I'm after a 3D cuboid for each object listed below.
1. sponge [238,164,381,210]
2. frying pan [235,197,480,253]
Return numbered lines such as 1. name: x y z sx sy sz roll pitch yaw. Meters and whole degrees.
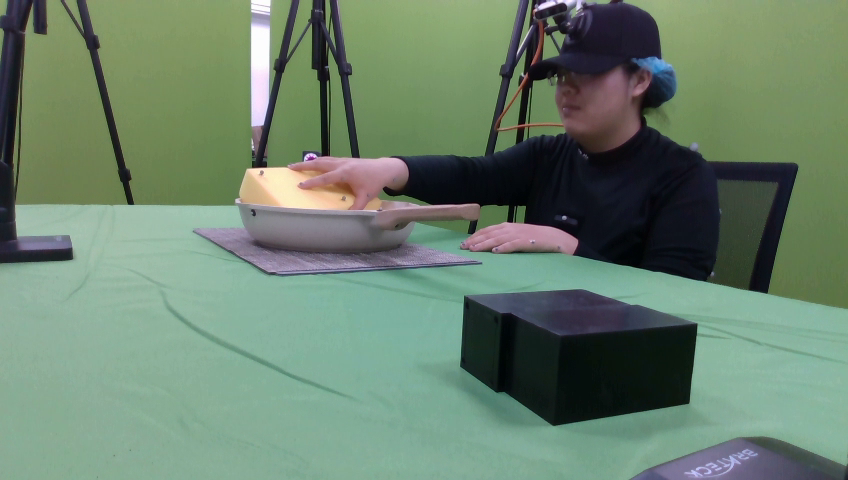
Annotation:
1. sponge: -0.187 -0.066 1.009 0.118 0.061 0.208 42 31 25
2. frying pan: -0.090 -0.034 0.891 0.308 0.102 0.485 -4 2 -36
